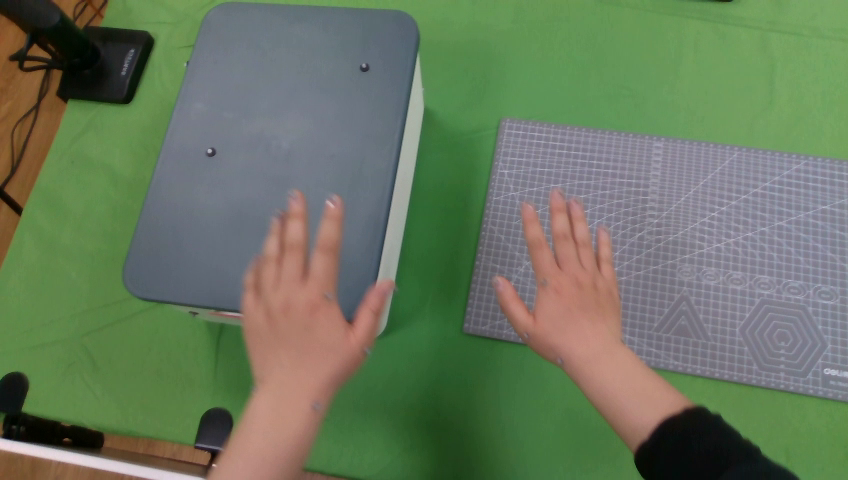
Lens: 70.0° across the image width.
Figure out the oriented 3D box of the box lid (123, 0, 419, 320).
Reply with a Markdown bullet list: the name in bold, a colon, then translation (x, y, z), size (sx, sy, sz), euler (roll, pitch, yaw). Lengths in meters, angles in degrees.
- **box lid**: translation (-0.156, -0.107, 0.652), size (0.263, 0.015, 0.369), euler (6, 73, 8)

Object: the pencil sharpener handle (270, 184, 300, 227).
- **pencil sharpener handle**: translation (-0.165, -0.040, 0.720), size (0.036, 0.068, 0.030), euler (7, 73, -2)

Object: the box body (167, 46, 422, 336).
- **box body**: translation (-0.149, -0.080, 0.722), size (0.254, 0.161, 0.362), euler (6, 72, 7)

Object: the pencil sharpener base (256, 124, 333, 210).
- **pencil sharpener base**: translation (-0.157, -0.084, 0.746), size (0.061, 0.108, 0.076), euler (4, 73, 6)
